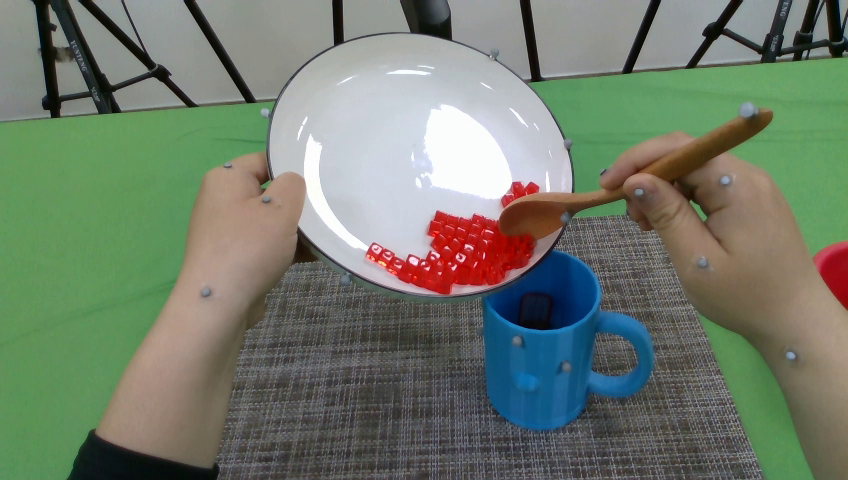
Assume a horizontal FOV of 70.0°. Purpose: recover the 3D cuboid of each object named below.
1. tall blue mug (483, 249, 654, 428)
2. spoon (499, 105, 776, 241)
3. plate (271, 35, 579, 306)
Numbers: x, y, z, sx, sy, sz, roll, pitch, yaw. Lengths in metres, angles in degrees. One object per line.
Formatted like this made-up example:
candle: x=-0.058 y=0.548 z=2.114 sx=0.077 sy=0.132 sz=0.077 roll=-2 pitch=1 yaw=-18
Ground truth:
tall blue mug: x=0.096 y=0.068 z=0.425 sx=0.107 sy=0.109 sz=0.077 roll=-8 pitch=41 yaw=-1
spoon: x=0.101 y=-0.028 z=0.327 sx=0.042 sy=0.193 sz=0.021 roll=23 pitch=71 yaw=-19
plate: x=0.002 y=-0.049 z=0.415 sx=0.208 sy=0.039 sz=0.206 roll=6 pitch=63 yaw=-11
